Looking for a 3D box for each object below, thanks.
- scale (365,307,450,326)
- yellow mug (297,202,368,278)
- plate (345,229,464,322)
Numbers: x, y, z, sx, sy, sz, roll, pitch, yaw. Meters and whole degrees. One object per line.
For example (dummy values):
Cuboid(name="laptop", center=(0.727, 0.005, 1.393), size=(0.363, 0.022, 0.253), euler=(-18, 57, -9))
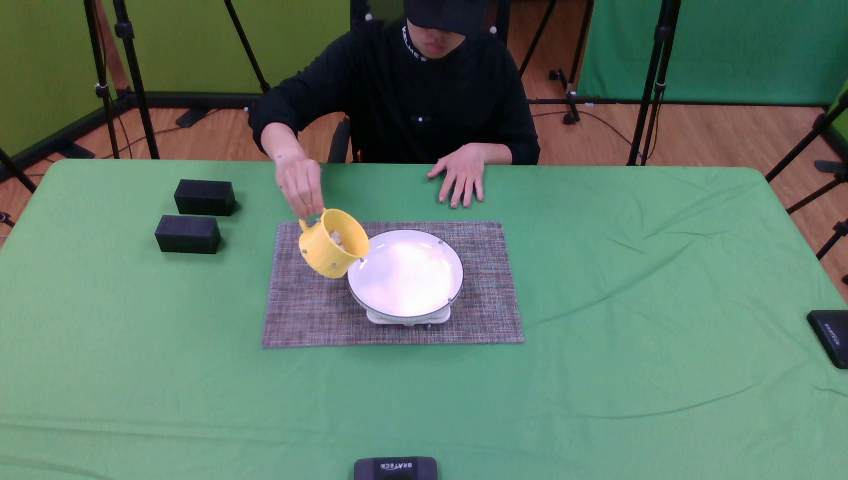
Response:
Cuboid(name="scale", center=(-0.032, 0.071, 1.113), size=(0.149, 0.032, 0.199), euler=(1, 46, -4))
Cuboid(name="yellow mug", center=(-0.161, -0.008, 1.007), size=(0.131, 0.064, 0.100), euler=(50, 27, -1))
Cuboid(name="plate", center=(-0.034, 0.065, 1.073), size=(0.209, 0.038, 0.208), euler=(2, 46, -2))
